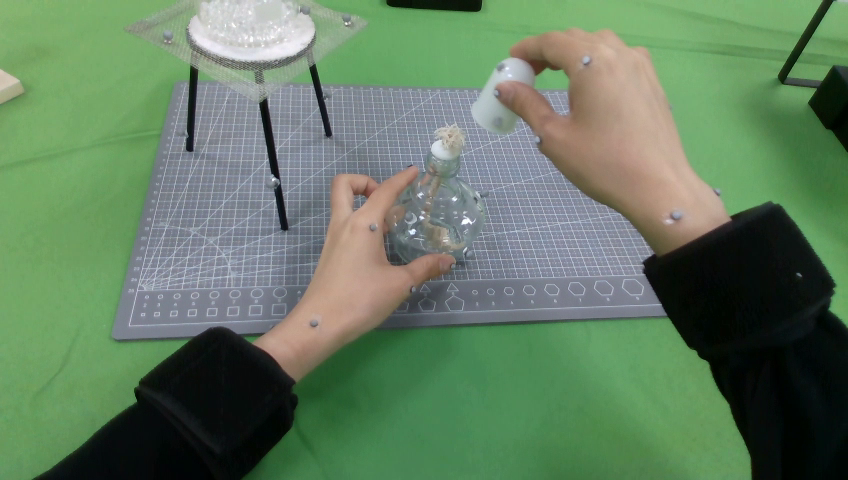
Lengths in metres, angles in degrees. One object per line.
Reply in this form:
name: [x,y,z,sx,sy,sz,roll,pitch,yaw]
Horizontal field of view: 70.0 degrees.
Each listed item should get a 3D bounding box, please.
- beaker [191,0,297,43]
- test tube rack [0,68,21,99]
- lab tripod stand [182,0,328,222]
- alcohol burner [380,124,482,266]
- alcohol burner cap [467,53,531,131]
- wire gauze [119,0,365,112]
beaker: [-0.123,-0.188,0.394,0.073,0.101,0.084,36,55,20]
test tube rack: [-0.458,-0.111,0.465,0.066,0.086,0.241,29,51,16]
lab tripod stand: [-0.129,-0.108,0.476,0.148,0.132,0.147,6,49,-6]
alcohol burner: [0.008,-0.036,0.448,0.078,0.120,0.077,5,46,-5]
alcohol burner cap: [0.050,-0.096,0.387,0.034,0.048,0.033,10,53,-13]
wire gauze: [-0.124,-0.151,0.427,0.124,0.011,0.121,32,54,13]
